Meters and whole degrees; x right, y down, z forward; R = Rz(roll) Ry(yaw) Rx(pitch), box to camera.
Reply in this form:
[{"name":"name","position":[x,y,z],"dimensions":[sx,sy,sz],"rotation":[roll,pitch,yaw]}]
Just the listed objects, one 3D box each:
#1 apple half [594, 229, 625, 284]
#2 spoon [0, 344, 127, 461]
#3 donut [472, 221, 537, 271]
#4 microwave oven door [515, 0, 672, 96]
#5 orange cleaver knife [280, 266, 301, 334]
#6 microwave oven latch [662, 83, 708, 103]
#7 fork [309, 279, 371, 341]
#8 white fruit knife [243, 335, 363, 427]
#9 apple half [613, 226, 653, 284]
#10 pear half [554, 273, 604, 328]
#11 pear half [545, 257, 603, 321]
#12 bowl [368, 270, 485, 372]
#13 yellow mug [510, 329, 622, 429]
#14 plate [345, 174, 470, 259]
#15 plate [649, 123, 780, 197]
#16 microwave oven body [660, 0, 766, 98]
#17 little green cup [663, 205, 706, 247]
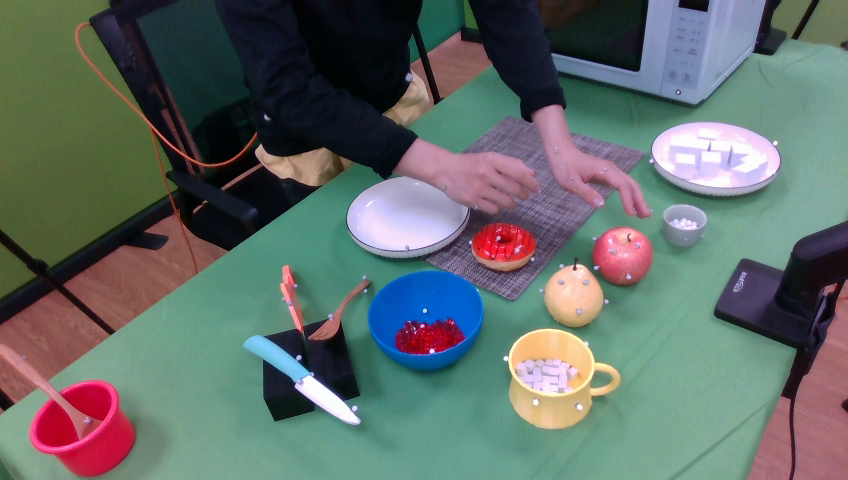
[{"name":"apple half","position":[0.259,0.027,0.864],"dimensions":[0.033,0.081,0.081],"rotation":[-3,40,0]},{"name":"spoon","position":[-0.433,0.191,0.721],"dimensions":[0.194,0.021,0.042],"rotation":[47,53,-6]},{"name":"donut","position":[0.123,0.008,0.923],"dimensions":[0.099,0.048,0.098],"rotation":[-3,38,3]},{"name":"microwave oven door","position":[0.343,-0.455,1.259],"dimensions":[0.353,0.245,0.039],"rotation":[26,51,33]},{"name":"orange cleaver knife","position":[-0.188,0.081,0.862],"dimensions":[0.012,0.077,0.210],"rotation":[-20,12,-9]},{"name":"microwave oven latch","position":[0.518,-0.296,1.204],"dimensions":[0.078,0.029,0.030],"rotation":[28,52,35]},{"name":"fork","position":[-0.109,0.093,0.832],"dimensions":[0.028,0.018,0.207],"rotation":[-4,19,15]},{"name":"white fruit knife","position":[-0.148,0.167,0.729],"dimensions":[0.206,0.016,0.027],"rotation":[27,80,31]},{"name":"apple half","position":[0.298,0.023,0.864],"dimensions":[0.053,0.075,0.080],"rotation":[-3,37,1]},{"name":"pear half","position":[0.208,0.085,0.791],"dimensions":[0.071,0.088,0.031],"rotation":[-14,39,-15]},{"name":"pear half","position":[0.197,0.056,0.811],"dimensions":[0.076,0.110,0.055],"rotation":[-14,41,-13]},{"name":"bowl","position":[0.007,0.118,0.791],"dimensions":[0.151,0.077,0.150],"rotation":[-5,40,4]},{"name":"yellow mug","position":[0.168,0.164,0.721],"dimensions":[0.130,0.064,0.099],"rotation":[0,40,8]},{"name":"plate","position":[-0.027,-0.037,1.004],"dimensions":[0.209,0.038,0.208],"rotation":[-4,40,4]},{"name":"plate","position":[0.497,-0.134,1.046],"dimensions":[0.207,0.039,0.206],"rotation":[-4,40,4]},{"name":"microwave oven body","position":[0.472,-0.513,1.317],"dimensions":[0.438,0.261,0.327],"rotation":[26,51,34]},{"name":"little green cup","position":[0.396,-0.020,0.926],"dimensions":[0.061,0.039,0.061],"rotation":[-4,40,4]}]
